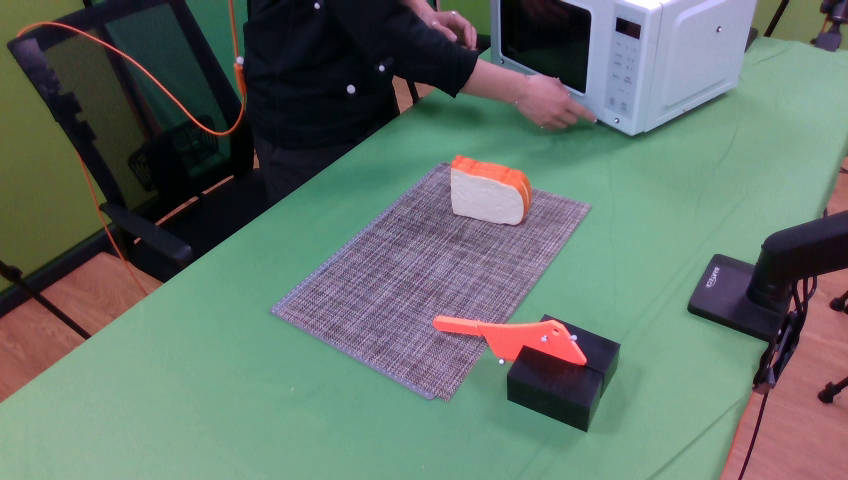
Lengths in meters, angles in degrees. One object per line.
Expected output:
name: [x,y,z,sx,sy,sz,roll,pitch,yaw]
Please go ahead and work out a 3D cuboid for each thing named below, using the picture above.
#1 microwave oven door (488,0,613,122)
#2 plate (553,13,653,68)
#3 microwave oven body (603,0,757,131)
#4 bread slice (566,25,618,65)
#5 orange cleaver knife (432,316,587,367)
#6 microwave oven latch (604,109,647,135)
microwave oven door: [0.250,-0.412,1.219,0.039,0.245,0.352,-27,44,-21]
plate: [0.385,-0.427,1.312,0.207,0.039,0.206,-3,45,3]
microwave oven body: [0.396,-0.448,1.248,0.327,0.261,0.437,-27,44,-21]
bread slice: [0.362,-0.427,1.325,0.107,0.018,0.133,0,51,6]
orange cleaver knife: [0.101,0.127,0.761,0.210,0.077,0.012,-1,34,40]
microwave oven latch: [0.378,-0.225,1.139,0.030,0.029,0.078,-26,43,-20]
